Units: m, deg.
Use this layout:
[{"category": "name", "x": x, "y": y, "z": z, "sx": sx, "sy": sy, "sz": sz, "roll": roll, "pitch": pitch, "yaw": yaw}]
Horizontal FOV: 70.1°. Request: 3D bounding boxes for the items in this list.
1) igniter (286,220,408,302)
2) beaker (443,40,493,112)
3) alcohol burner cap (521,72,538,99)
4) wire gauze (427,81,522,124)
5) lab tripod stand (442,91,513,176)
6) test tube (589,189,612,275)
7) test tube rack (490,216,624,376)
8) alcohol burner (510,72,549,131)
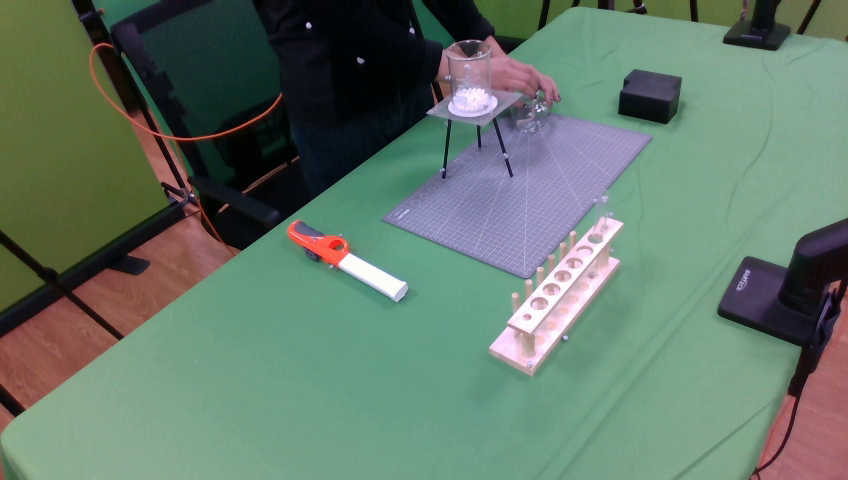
[{"category": "igniter", "x": -0.134, "y": 0.028, "z": 0.969, "sx": 0.274, "sy": 0.025, "sz": 0.057, "roll": 26, "pitch": 61, "yaw": 35}, {"category": "beaker", "x": 0.076, "y": -0.276, "z": 1.023, "sx": 0.083, "sy": 0.101, "sz": 0.074, "roll": 5, "pitch": 42, "yaw": 15}, {"category": "alcohol burner cap", "x": 0.201, "y": -0.302, "z": 1.170, "sx": 0.034, "sy": 0.048, "sz": 0.033, "roll": -10, "pitch": 43, "yaw": 10}, {"category": "wire gauze", "x": 0.088, "y": -0.237, "z": 1.051, "sx": 0.120, "sy": 0.011, "sz": 0.125, "roll": 23, "pitch": 47, "yaw": 29}, {"category": "lab tripod stand", "x": 0.096, "y": -0.190, "z": 1.096, "sx": 0.148, "sy": 0.132, "sz": 0.147, "roll": -4, "pitch": 40, "yaw": 4}, {"category": "test tube", "x": 0.238, "y": -0.007, "z": 0.818, "sx": 0.017, "sy": 0.151, "sz": 0.017, "roll": -3, "pitch": 43, "yaw": 4}, {"category": "test tube rack", "x": 0.184, "y": 0.064, "z": 0.822, "sx": 0.066, "sy": 0.085, "sz": 0.243, "roll": 24, "pitch": 50, "yaw": 33}, {"category": "alcohol burner", "x": 0.209, "y": -0.276, "z": 1.192, "sx": 0.078, "sy": 0.119, "sz": 0.077, "roll": -4, "pitch": 41, "yaw": 4}]
